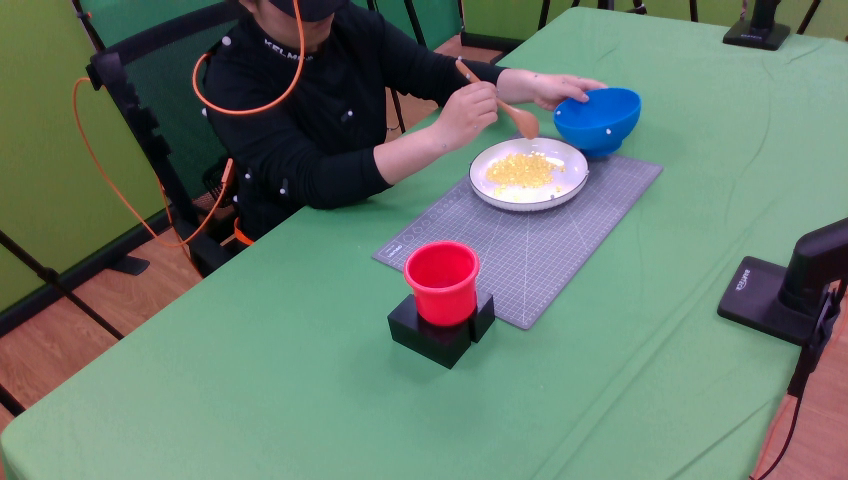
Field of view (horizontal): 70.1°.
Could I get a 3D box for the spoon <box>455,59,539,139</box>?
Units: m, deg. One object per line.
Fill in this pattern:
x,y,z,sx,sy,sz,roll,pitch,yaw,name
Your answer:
0.123,-0.234,1.008,0.041,0.195,0.021,-60,19,-11,spoon

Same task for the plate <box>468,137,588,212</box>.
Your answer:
0.182,-0.112,1.064,0.207,0.039,0.206,-5,40,5,plate

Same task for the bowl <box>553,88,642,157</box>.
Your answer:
0.311,-0.201,1.075,0.151,0.077,0.150,-12,34,9,bowl
